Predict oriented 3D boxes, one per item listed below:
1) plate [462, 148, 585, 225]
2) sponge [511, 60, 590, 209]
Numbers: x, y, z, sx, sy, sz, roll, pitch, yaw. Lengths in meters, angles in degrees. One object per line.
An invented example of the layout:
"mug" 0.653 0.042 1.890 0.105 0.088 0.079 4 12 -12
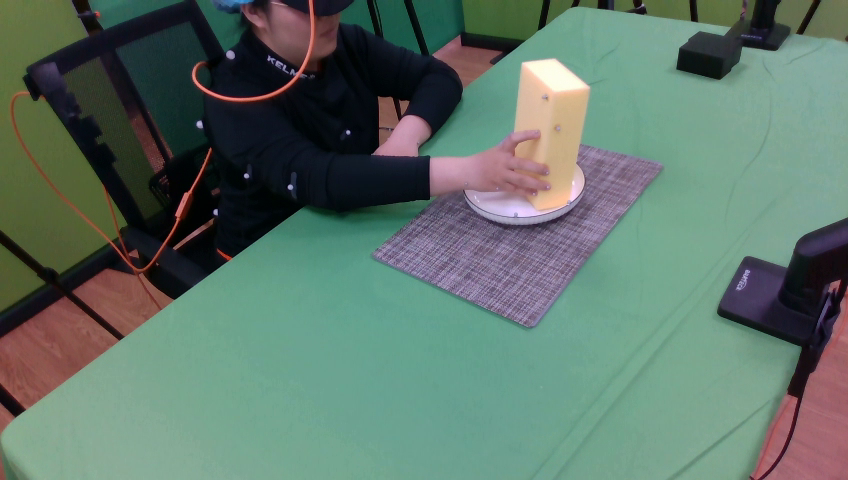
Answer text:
"plate" 0.170 -0.089 1.041 0.207 0.039 0.206 -5 40 5
"sponge" 0.200 -0.170 0.983 0.061 0.207 0.117 -10 38 -14
